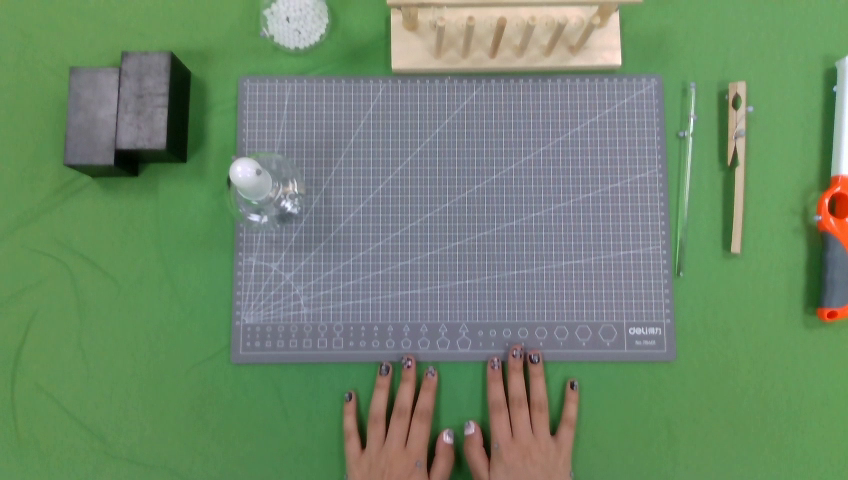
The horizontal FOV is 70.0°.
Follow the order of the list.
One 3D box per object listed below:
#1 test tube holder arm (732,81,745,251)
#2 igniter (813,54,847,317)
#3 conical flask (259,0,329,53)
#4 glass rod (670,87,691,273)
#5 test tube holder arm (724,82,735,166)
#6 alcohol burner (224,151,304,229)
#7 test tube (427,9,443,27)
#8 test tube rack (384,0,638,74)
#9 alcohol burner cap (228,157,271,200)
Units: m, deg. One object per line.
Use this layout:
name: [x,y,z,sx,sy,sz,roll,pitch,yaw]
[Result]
test tube holder arm: [0.326,-0.078,0.631,0.013,0.015,0.178,-4,81,37]
igniter: [0.431,-0.057,0.626,0.057,0.025,0.276,9,84,-9]
conical flask: [-0.139,-0.243,0.599,0.075,0.122,0.075,0,83,0]
glass rod: [0.270,-0.064,0.636,0.008,0.008,0.199,6,86,1]
test tube holder arm: [0.323,-0.122,0.639,0.010,0.015,0.087,-3,82,37]
alcohol burner: [-0.158,-0.051,0.578,0.078,0.119,0.077,0,82,2]
test tube: [0.013,-0.243,0.568,0.017,0.150,0.017,0,80,-1]
test tube rack: [0.083,-0.219,0.615,0.242,0.085,0.066,-1,83,0]
alcohol burner cap: [-0.158,-0.058,0.542,0.034,0.048,0.033,1,79,-4]
